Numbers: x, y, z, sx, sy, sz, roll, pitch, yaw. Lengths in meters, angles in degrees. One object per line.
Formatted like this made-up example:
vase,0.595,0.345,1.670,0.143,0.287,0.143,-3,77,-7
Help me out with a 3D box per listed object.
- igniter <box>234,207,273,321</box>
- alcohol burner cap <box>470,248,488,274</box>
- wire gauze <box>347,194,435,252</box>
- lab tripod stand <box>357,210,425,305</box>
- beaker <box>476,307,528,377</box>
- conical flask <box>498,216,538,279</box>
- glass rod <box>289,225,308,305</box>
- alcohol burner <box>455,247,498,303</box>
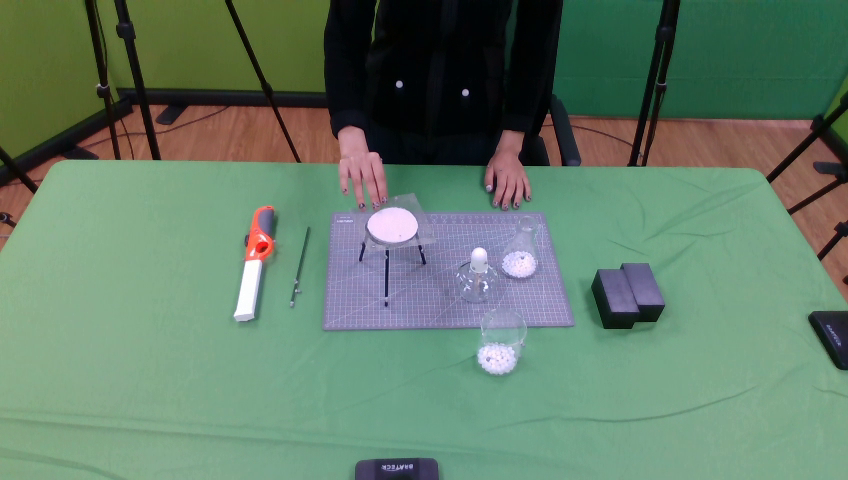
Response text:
igniter,-0.318,0.035,1.137,0.057,0.025,0.274,-8,46,3
alcohol burner cap,0.095,0.034,1.057,0.034,0.048,0.033,-3,52,4
wire gauze,-0.058,-0.029,1.048,0.125,0.011,0.120,-12,48,-16
lab tripod stand,-0.060,0.020,1.094,0.148,0.132,0.147,3,44,-2
beaker,0.122,0.171,0.991,0.084,0.101,0.073,-34,56,-31
conical flask,0.183,0.010,1.132,0.075,0.122,0.075,2,46,-2
glass rod,-0.236,0.043,1.149,0.008,0.008,0.198,3,46,-1
alcohol burner,0.095,0.057,1.084,0.078,0.120,0.077,1,47,-1
